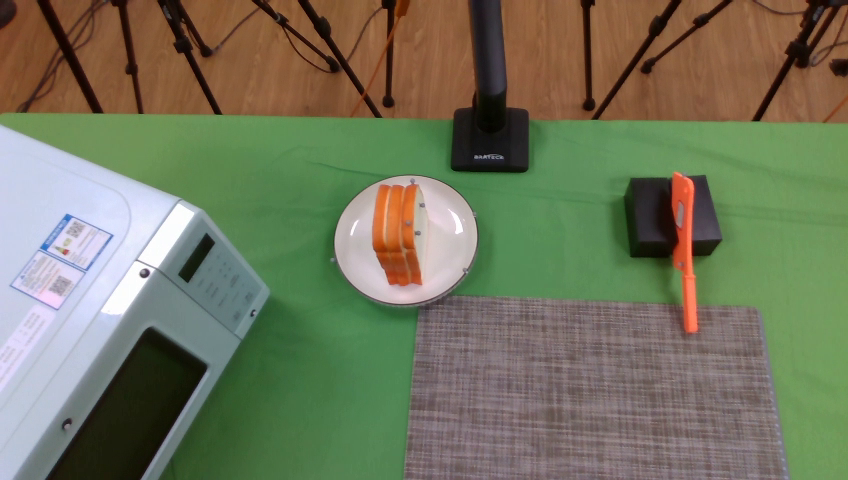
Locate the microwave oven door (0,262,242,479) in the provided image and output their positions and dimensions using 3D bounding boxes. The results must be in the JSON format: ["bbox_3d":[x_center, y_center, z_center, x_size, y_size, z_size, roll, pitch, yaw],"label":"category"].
[{"bbox_3d":[-0.345,0.220,0.654,0.039,0.246,0.354,21,68,15],"label":"microwave oven door"}]

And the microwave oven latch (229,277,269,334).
[{"bbox_3d":[-0.241,0.085,0.824,0.030,0.030,0.079,22,69,14],"label":"microwave oven latch"}]

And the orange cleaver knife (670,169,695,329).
[{"bbox_3d":[0.340,0.010,0.802,0.012,0.077,0.211,-3,93,3],"label":"orange cleaver knife"}]

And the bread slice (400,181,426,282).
[{"bbox_3d":[-0.013,-0.013,0.811,0.018,0.135,0.106,-1,67,7],"label":"bread slice"}]

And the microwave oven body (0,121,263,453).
[{"bbox_3d":[-0.459,0.138,0.710,0.324,0.262,0.440,21,68,14],"label":"microwave oven body"}]

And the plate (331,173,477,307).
[{"bbox_3d":[-0.027,0.001,0.867,0.207,0.039,0.206,-2,64,4],"label":"plate"}]
